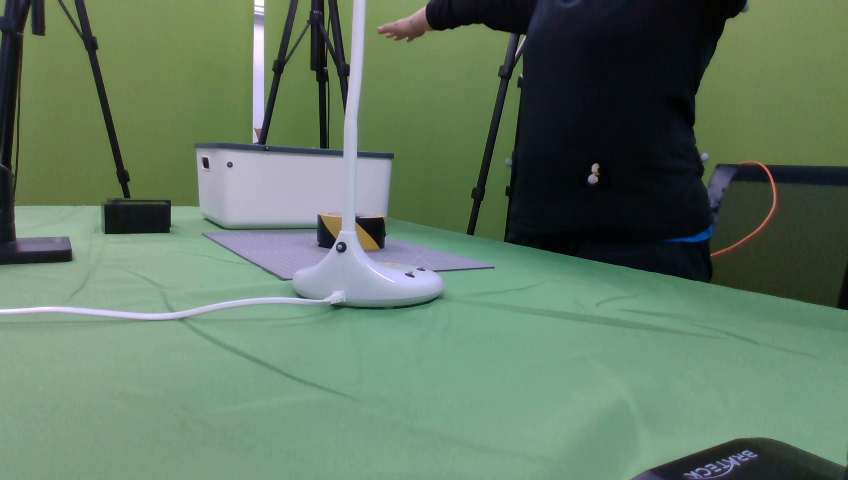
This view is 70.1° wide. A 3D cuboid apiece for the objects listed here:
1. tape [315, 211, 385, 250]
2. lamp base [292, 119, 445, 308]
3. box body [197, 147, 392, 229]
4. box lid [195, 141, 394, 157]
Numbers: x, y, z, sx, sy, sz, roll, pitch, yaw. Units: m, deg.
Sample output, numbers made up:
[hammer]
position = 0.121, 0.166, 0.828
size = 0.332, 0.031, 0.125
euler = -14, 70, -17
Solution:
[tape]
position = -0.119, -0.017, 0.973
size = 0.117, 0.052, 0.117
euler = 2, 7, 0
[lamp base]
position = -0.056, -0.030, 0.616
size = 0.160, 0.180, 0.179
euler = 3, 10, 8
[box body]
position = -0.278, -0.117, 1.292
size = 0.366, 0.160, 0.253
euler = -2, 8, -30
[box lid]
position = -0.277, -0.190, 1.282
size = 0.373, 0.015, 0.262
euler = -1, 8, -30
